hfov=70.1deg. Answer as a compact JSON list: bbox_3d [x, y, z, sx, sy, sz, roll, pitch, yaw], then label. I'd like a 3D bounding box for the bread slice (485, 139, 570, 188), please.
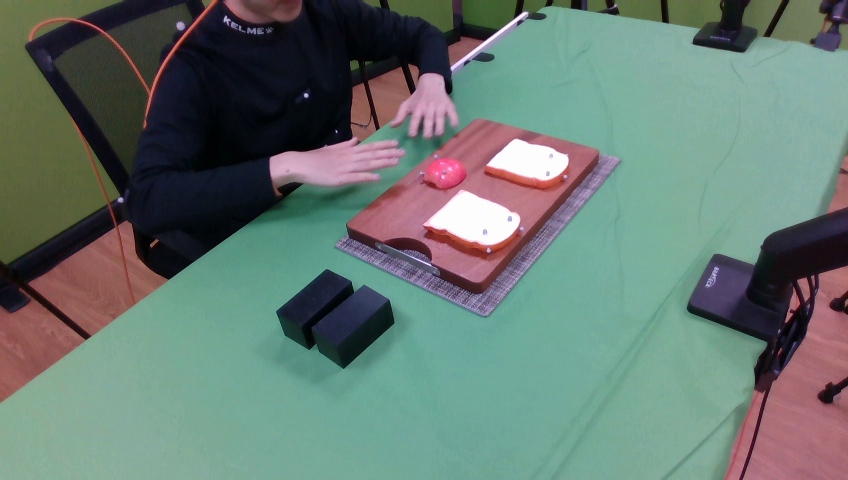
[{"bbox_3d":[0.189,-0.135,1.059,0.130,0.019,0.105,21,49,30],"label":"bread slice"}]

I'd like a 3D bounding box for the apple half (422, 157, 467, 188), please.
[{"bbox_3d":[0.035,-0.128,1.061,0.081,0.033,0.081,-6,42,6],"label":"apple half"}]

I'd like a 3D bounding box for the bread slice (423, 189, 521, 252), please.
[{"bbox_3d":[0.083,-0.029,0.949,0.133,0.018,0.107,22,48,28],"label":"bread slice"}]
